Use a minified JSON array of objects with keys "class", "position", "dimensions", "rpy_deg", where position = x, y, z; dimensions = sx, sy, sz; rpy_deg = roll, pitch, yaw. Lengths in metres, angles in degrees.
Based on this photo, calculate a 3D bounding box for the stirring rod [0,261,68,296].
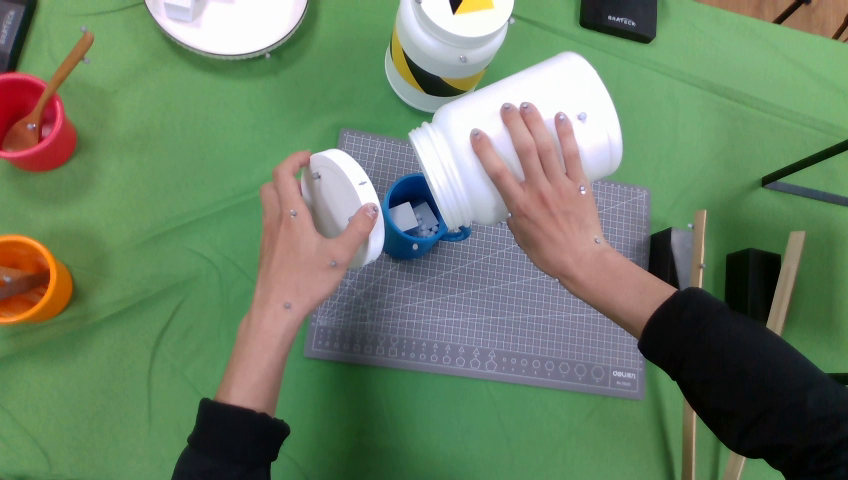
[{"class":"stirring rod","position":[-0.445,0.055,0.614],"dimensions":[0.014,0.006,0.176],"rpy_deg":[55,31,-1]}]

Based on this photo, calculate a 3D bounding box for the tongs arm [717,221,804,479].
[{"class":"tongs arm","position":[0.438,0.158,0.801],"dimensions":[0.028,0.027,0.387],"rpy_deg":[19,87,-16]}]

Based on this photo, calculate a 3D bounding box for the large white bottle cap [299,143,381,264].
[{"class":"large white bottle cap","position":[-0.081,-0.033,0.570],"dimensions":[0.018,0.115,0.114],"rpy_deg":[-23,83,-35]}]

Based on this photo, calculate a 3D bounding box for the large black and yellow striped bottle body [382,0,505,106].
[{"class":"large black and yellow striped bottle body","position":[0.022,-0.262,0.753],"dimensions":[0.131,0.184,0.130],"rpy_deg":[3,77,-11]}]

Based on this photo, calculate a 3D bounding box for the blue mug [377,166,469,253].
[{"class":"blue mug","position":[-0.002,-0.029,0.740],"dimensions":[0.117,0.106,0.082],"rpy_deg":[17,75,-8]}]

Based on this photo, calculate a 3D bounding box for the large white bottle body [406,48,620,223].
[{"class":"large white bottle body","position":[0.086,-0.100,0.612],"dimensions":[0.185,0.131,0.130],"rpy_deg":[-22,83,-1]}]

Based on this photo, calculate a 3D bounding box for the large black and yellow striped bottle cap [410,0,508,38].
[{"class":"large black and yellow striped bottle cap","position":[0.039,-0.281,0.674],"dimensions":[0.115,0.019,0.114],"rpy_deg":[3,79,-13]}]

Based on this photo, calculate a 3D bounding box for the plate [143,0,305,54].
[{"class":"plate","position":[-0.257,-0.333,0.784],"dimensions":[0.208,0.039,0.206],"rpy_deg":[2,79,-11]}]

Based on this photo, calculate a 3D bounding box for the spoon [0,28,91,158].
[{"class":"spoon","position":[-0.413,-0.158,0.660],"dimensions":[0.194,0.021,0.041],"rpy_deg":[-39,84,27]}]

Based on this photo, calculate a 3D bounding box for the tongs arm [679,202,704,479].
[{"class":"tongs arm","position":[0.359,0.144,0.785],"dimensions":[0.051,0.026,0.384],"rpy_deg":[5,90,-14]}]

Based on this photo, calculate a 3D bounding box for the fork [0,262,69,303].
[{"class":"fork","position":[-0.462,0.014,0.612],"dimensions":[0.209,0.018,0.028],"rpy_deg":[42,65,-46]}]
